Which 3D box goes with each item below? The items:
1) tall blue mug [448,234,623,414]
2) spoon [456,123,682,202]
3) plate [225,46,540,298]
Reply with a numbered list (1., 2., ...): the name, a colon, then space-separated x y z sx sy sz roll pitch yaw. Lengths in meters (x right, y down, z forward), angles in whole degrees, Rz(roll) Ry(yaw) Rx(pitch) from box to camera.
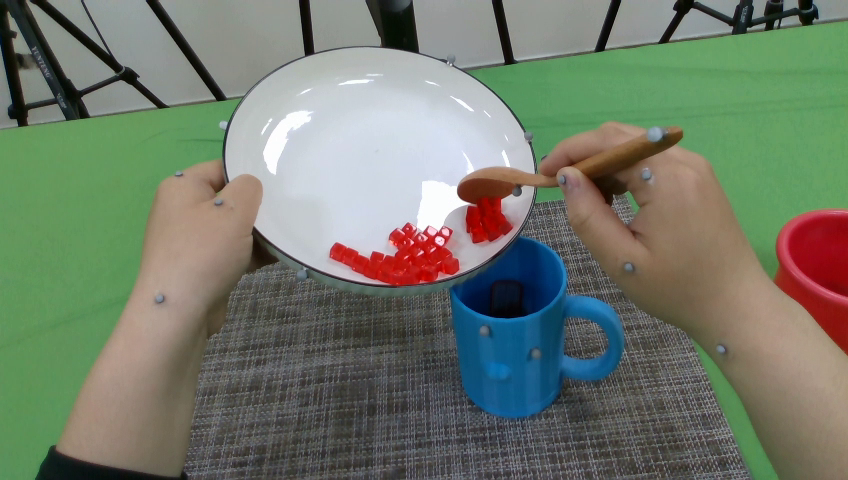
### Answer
1. tall blue mug: 0.074 0.057 0.420 0.107 0.109 0.077 -11 42 -2
2. spoon: 0.069 -0.037 0.332 0.042 0.021 0.193 9 -3 -21
3. plate: -0.026 -0.049 0.414 0.208 0.039 0.205 5 57 -7
